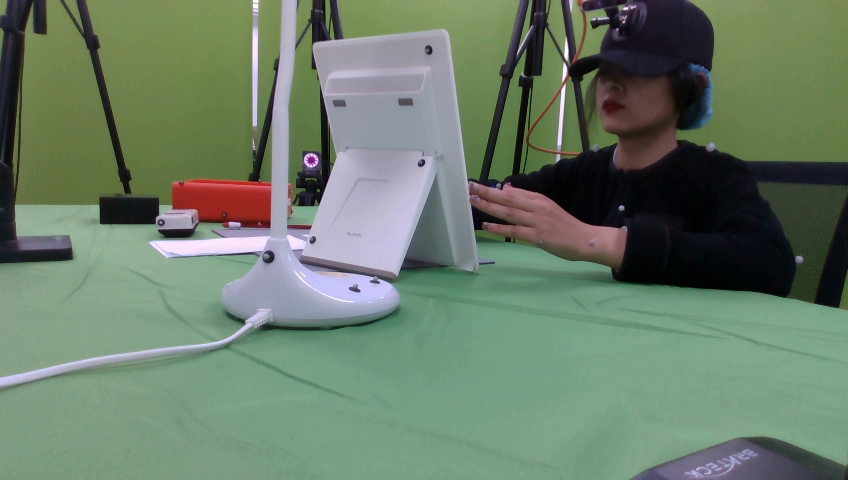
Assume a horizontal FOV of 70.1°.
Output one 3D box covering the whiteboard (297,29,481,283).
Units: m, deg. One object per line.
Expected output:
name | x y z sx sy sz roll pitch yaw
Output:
whiteboard | -0.075 -0.082 0.741 0.216 0.305 0.144 9 29 37

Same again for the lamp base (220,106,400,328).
lamp base | -0.101 -0.023 0.531 0.160 0.180 0.179 4 10 10

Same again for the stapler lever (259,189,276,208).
stapler lever | -0.335 -0.090 1.300 0.027 0.040 0.118 15 4 -10

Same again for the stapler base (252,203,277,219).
stapler base | -0.341 -0.065 1.301 0.041 0.024 0.130 15 5 -10

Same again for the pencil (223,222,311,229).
pencil | -0.274 -0.026 1.132 0.195 0.012 0.012 1 8 -25

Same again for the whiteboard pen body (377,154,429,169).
whiteboard pen body | -0.030 -0.113 0.876 0.017 0.017 0.141 6 13 27

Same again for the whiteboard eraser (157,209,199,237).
whiteboard eraser | -0.411 -0.029 1.016 0.056 0.042 0.112 2 7 -16

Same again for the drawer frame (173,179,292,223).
drawer frame | -0.400 -0.086 1.299 0.214 0.082 0.201 1 8 -8

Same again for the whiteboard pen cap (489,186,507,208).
whiteboard pen cap | 0.095 -0.057 0.794 0.018 0.018 0.033 0 36 -16

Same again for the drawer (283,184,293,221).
drawer | -0.396 -0.085 1.301 0.212 0.073 0.194 1 8 -7
